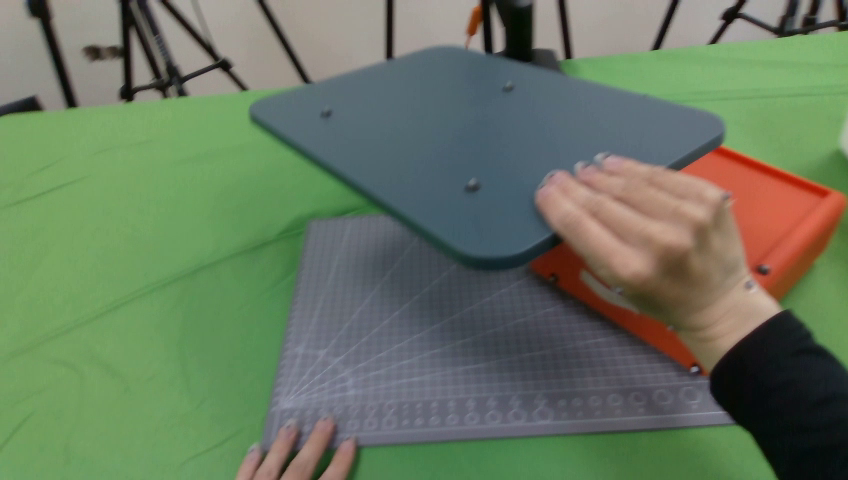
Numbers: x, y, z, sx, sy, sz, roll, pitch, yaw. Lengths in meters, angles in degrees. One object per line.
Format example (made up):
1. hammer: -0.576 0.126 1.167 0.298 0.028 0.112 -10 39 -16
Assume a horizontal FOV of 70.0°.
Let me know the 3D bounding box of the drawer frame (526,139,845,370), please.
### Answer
1. drawer frame: 0.242 -0.012 0.582 0.213 0.083 0.199 -33 48 -26

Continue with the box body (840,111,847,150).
1. box body: 0.592 -0.071 0.541 0.254 0.162 0.360 -3 43 4

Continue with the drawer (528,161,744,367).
1. drawer: 0.240 -0.009 0.582 0.212 0.074 0.192 -33 48 -26

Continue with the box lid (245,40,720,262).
1. box lid: 0.029 -0.107 0.530 0.263 0.015 0.367 -28 40 -28

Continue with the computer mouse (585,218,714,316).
1. computer mouse: 0.214 0.021 0.574 0.063 0.041 0.116 -31 54 -28
